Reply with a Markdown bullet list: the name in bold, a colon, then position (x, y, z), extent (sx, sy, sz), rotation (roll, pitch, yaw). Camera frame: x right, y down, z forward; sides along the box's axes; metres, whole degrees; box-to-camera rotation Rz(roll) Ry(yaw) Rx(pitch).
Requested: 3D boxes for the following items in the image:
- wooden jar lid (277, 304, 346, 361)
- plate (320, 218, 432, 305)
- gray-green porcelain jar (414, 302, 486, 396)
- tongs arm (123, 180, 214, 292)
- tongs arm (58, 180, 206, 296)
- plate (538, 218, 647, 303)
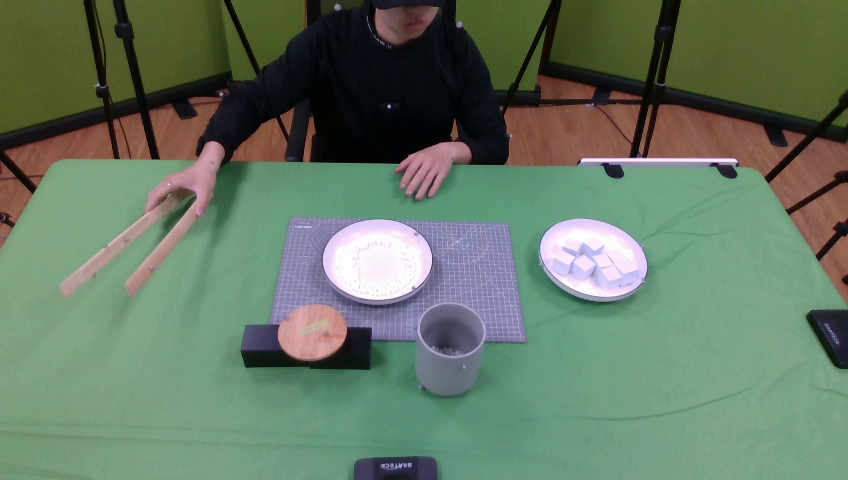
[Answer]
- **wooden jar lid**: position (-0.180, 0.150, 0.972), extent (0.108, 0.021, 0.107), rotation (2, 45, -2)
- **plate**: position (-0.089, 0.044, 1.134), extent (0.209, 0.038, 0.208), rotation (3, 46, -2)
- **gray-green porcelain jar**: position (0.038, 0.177, 0.958), extent (0.106, 0.127, 0.105), rotation (2, 46, -2)
- **tongs arm**: position (-0.446, -0.022, 1.087), extent (0.028, 0.028, 0.385), rotation (-11, 28, 8)
- **tongs arm**: position (-0.508, -0.018, 1.099), extent (0.051, 0.026, 0.383), rotation (-4, 29, 14)
- **plate**: position (0.322, 0.042, 1.171), extent (0.208, 0.039, 0.206), rotation (2, 46, -2)
